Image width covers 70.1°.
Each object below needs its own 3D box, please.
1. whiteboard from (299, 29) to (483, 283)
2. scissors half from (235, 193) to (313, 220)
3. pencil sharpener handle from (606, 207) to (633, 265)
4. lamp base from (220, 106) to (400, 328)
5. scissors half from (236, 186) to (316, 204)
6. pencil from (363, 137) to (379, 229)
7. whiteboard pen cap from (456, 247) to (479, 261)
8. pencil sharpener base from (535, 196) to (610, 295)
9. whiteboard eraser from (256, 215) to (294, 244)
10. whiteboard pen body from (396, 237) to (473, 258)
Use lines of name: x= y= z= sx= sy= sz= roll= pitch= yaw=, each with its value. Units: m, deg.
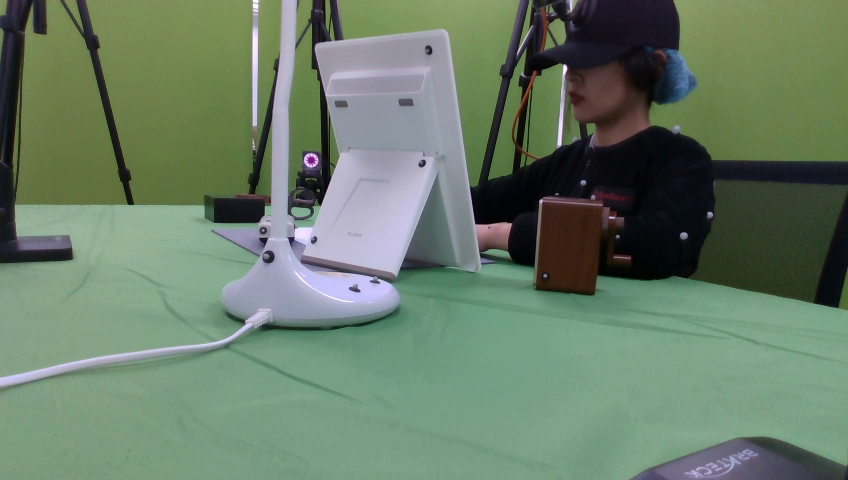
whiteboard: x=-0.074 y=-0.082 z=0.742 sx=0.216 sy=0.305 sz=0.144 roll=9 pitch=30 yaw=38
scissors half: x=-0.325 y=-0.077 z=1.319 sx=0.176 sy=0.040 sz=0.012 roll=17 pitch=6 yaw=-32
pencil sharpener handle: x=0.223 y=-0.004 z=0.683 sx=0.030 sy=0.068 sz=0.036 roll=5 pitch=21 yaw=16
lamp base: x=-0.101 y=-0.023 z=0.531 sx=0.160 sy=0.180 sz=0.179 roll=4 pitch=10 yaw=10
scissors half: x=-0.320 y=-0.097 z=1.316 sx=0.176 sy=0.040 sz=0.013 roll=-3 pitch=11 yaw=-29
pencil: x=-0.095 y=-0.104 z=1.078 sx=0.012 sy=0.193 sz=0.012 roll=4 pitch=-26 yaw=2
whiteboard pen cap: x=0.060 y=0.020 z=0.851 sx=0.033 sy=0.018 sz=0.018 roll=10 pitch=10 yaw=37
pencil sharpener base: x=0.172 y=0.005 z=0.695 sx=0.076 sy=0.107 sz=0.061 roll=5 pitch=7 yaw=16
whiteboard eraser: x=-0.232 y=-0.016 z=0.951 sx=0.056 sy=0.042 sz=0.112 roll=2 pitch=7 yaw=-12
whiteboard pen body: x=0.014 y=0.012 z=0.886 sx=0.140 sy=0.017 sz=0.017 roll=10 pitch=11 yaw=38
